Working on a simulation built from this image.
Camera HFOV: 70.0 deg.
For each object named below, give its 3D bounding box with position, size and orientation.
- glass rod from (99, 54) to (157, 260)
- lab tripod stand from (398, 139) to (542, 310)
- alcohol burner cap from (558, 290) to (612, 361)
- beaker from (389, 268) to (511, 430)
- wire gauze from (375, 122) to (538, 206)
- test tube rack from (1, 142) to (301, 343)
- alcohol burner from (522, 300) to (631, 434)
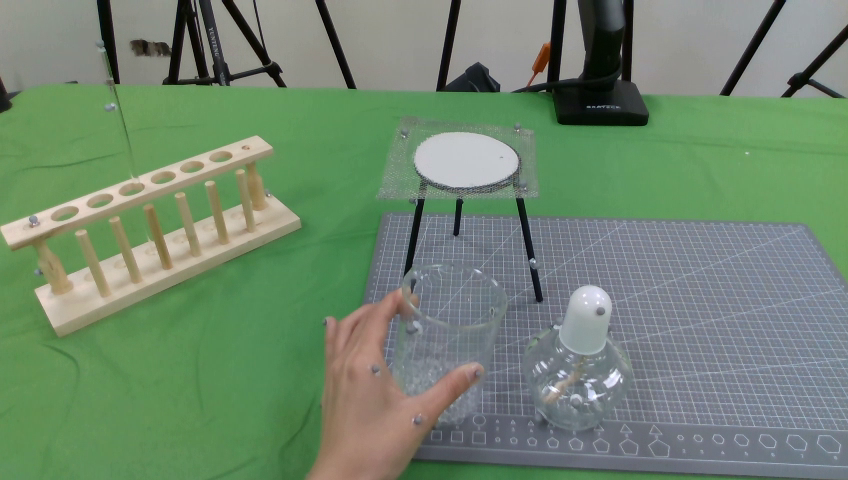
[{"bbox_3d":[-0.267,-0.067,0.551,0.008,0.201,0.008,1,31,0],"label":"glass rod"},{"bbox_3d":[0.040,-0.011,0.536,0.148,0.132,0.147,1,37,0],"label":"lab tripod stand"},{"bbox_3d":[0.110,0.055,0.407,0.034,0.048,0.033,2,40,-1],"label":"alcohol burner cap"},{"bbox_3d":[0.012,0.080,0.441,0.074,0.101,0.083,-16,40,-36],"label":"beaker"},{"bbox_3d":[0.030,-0.063,0.493,0.121,0.011,0.124,4,39,5],"label":"wire gauze"},{"bbox_3d":[-0.246,-0.007,0.580,0.242,0.086,0.066,-28,45,-30],"label":"test tube rack"},{"bbox_3d":[0.110,0.083,0.430,0.078,0.120,0.077,0,40,1],"label":"alcohol burner"}]
